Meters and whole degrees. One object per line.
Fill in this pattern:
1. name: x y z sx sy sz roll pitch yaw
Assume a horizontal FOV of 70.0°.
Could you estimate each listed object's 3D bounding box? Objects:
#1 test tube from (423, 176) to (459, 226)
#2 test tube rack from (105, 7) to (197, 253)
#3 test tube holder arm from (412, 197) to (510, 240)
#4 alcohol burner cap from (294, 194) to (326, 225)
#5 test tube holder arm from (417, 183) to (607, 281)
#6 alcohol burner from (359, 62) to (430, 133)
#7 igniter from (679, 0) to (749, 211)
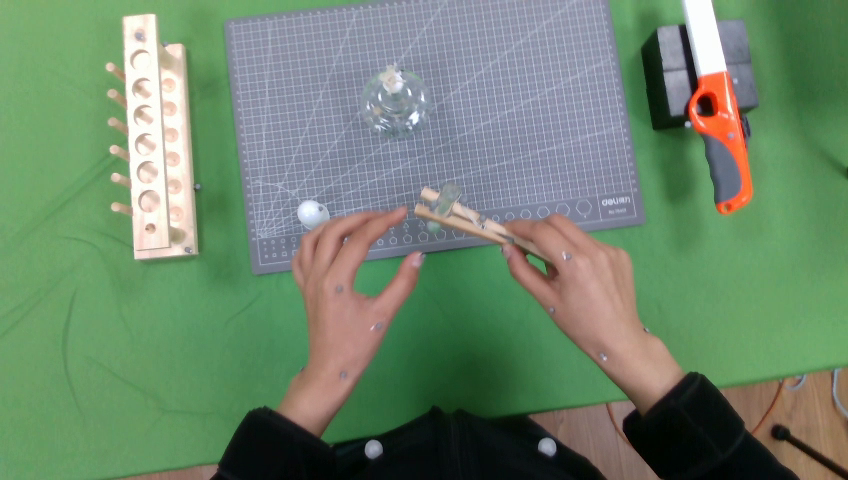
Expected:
1. test tube: 0.012 -0.030 0.519 0.017 0.150 0.017 1 82 -5
2. test tube rack: -0.298 -0.112 0.648 0.067 0.085 0.241 -5 85 -2
3. test tube holder arm: 0.032 -0.018 0.518 0.088 0.015 0.010 18 87 -2
4. alcohol burner cap: -0.127 -0.036 0.665 0.034 0.048 0.034 0 84 -3
5. test tube holder arm: 0.076 -0.006 0.520 0.178 0.015 0.013 24 87 -2
6. alcohol burner: -0.032 -0.156 0.643 0.078 0.119 0.078 0 86 -1
7. igniter: 0.308 -0.168 0.652 0.057 0.025 0.275 -9 84 10
